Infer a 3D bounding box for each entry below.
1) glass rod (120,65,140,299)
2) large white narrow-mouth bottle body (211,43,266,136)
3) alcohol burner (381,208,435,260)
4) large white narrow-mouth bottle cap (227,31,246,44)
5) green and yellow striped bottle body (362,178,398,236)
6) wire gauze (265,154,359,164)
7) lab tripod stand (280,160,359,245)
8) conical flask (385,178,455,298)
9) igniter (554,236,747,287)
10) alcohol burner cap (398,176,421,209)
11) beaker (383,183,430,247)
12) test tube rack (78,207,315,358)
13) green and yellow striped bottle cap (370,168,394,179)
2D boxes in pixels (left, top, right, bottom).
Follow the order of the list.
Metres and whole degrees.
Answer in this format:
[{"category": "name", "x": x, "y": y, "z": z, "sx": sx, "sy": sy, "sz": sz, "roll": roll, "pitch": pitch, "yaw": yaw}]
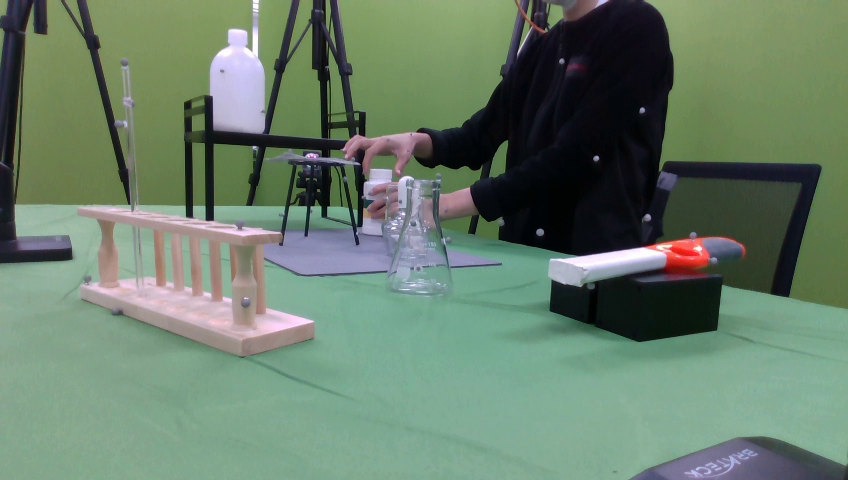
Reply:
[{"category": "glass rod", "x": -0.249, "y": -0.047, "z": 0.513, "sx": 0.008, "sy": 0.199, "sz": 0.008, "roll": -1, "pitch": 4, "yaw": 0}, {"category": "large white narrow-mouth bottle body", "x": -0.361, "y": -0.302, "z": 1.176, "sx": 0.102, "sy": 0.194, "sz": 0.102, "roll": 1, "pitch": 7, "yaw": 0}, {"category": "alcohol burner", "x": -0.023, "y": -0.032, "z": 0.871, "sx": 0.078, "sy": 0.119, "sz": 0.078, "roll": 0, "pitch": 6, "yaw": 0}, {"category": "large white narrow-mouth bottle cap", "x": -0.361, "y": -0.388, "z": 1.165, "sx": 0.038, "sy": 0.024, "sz": 0.037, "roll": 1, "pitch": 7, "yaw": 0}, {"category": "green and yellow striped bottle body", "x": -0.081, "y": -0.069, "z": 1.117, "sx": 0.063, "sy": 0.119, "sz": 0.063, "roll": 2, "pitch": 7, "yaw": 0}, {"category": "wire gauze", "x": -0.181, "y": -0.129, "z": 0.969, "sx": 0.126, "sy": 0.011, "sz": 0.121, "roll": -1, "pitch": 7, "yaw": -27}, {"category": "lab tripod stand", "x": -0.176, "y": -0.062, "z": 0.973, "sx": 0.148, "sy": 0.131, "sz": 0.148, "roll": 1, "pitch": 7, "yaw": 0}, {"category": "conical flask", "x": -0.002, "y": -0.004, "z": 0.639, "sx": 0.075, "sy": 0.122, "sz": 0.075, "roll": 2, "pitch": 7, "yaw": 0}, {"category": "igniter", "x": 0.221, "y": 0.017, "z": 0.558, "sx": 0.278, "sy": 0.025, "sz": 0.057, "roll": -5, "pitch": 15, "yaw": -39}, {"category": "alcohol burner cap", "x": -0.023, "y": -0.068, "z": 0.866, "sx": 0.034, "sy": 0.048, "sz": 0.034, "roll": -5, "pitch": 8, "yaw": 1}, {"category": "beaker", "x": -0.027, "y": -0.041, "z": 0.996, "sx": 0.074, "sy": 0.100, "sz": 0.083, "roll": -5, "pitch": 11, "yaw": -43}, {"category": "test tube rack", "x": -0.196, "y": 0.023, "z": 0.500, "sx": 0.241, "sy": 0.085, "sz": 0.067, "roll": 8, "pitch": 9, "yaw": 37}, {"category": "green and yellow striped bottle cap", "x": -0.078, "y": -0.122, "z": 1.113, "sx": 0.045, "sy": 0.020, "sz": 0.045, "roll": -2, "pitch": 9, "yaw": 1}]
